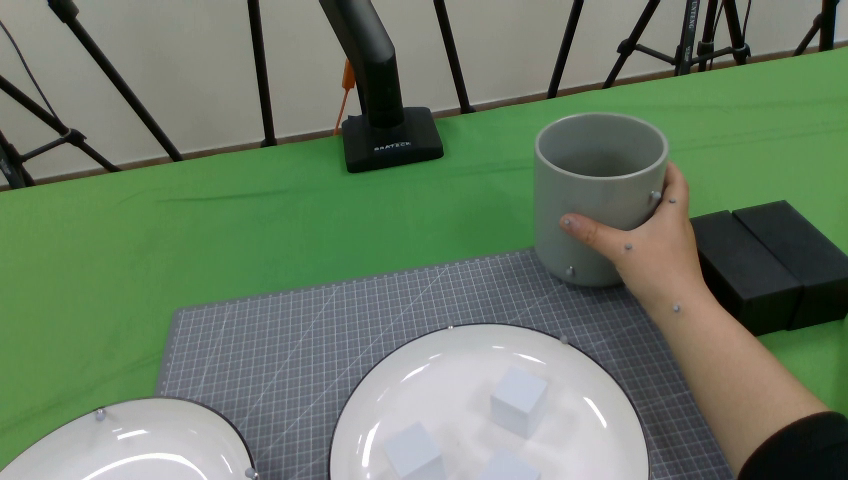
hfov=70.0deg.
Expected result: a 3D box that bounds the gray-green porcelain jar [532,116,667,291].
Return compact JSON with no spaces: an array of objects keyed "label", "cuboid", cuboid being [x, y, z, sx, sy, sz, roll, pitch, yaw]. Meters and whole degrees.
[{"label":"gray-green porcelain jar","cuboid":[0.148,-0.027,0.530,0.106,0.128,0.105,-4,40,4]}]

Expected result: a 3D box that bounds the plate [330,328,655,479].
[{"label":"plate","cuboid":[0.043,0.147,0.407,0.207,0.039,0.205,-4,39,4]}]

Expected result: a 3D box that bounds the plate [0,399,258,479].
[{"label":"plate","cuboid":[-0.204,0.198,0.385,0.209,0.038,0.207,-5,40,5]}]
